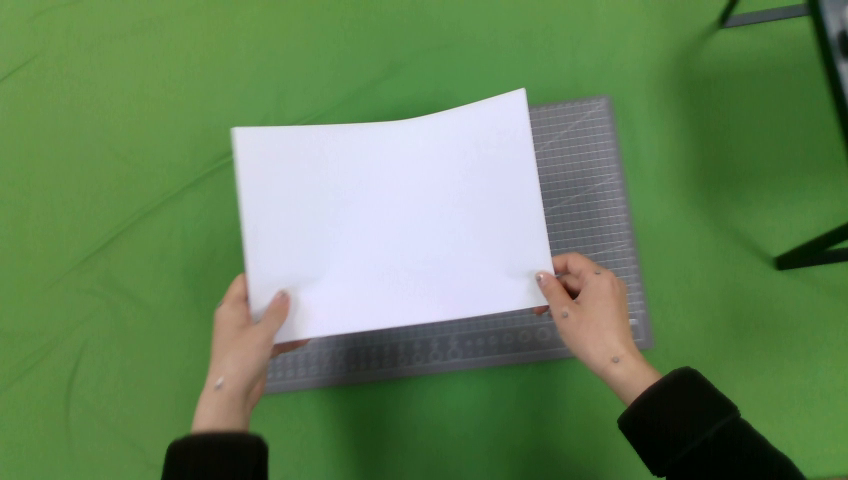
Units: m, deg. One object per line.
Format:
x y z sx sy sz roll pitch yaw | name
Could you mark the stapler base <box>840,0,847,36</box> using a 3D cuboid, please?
0.426 -0.201 0.512 0.130 0.024 0.041 -9 79 1 | stapler base
